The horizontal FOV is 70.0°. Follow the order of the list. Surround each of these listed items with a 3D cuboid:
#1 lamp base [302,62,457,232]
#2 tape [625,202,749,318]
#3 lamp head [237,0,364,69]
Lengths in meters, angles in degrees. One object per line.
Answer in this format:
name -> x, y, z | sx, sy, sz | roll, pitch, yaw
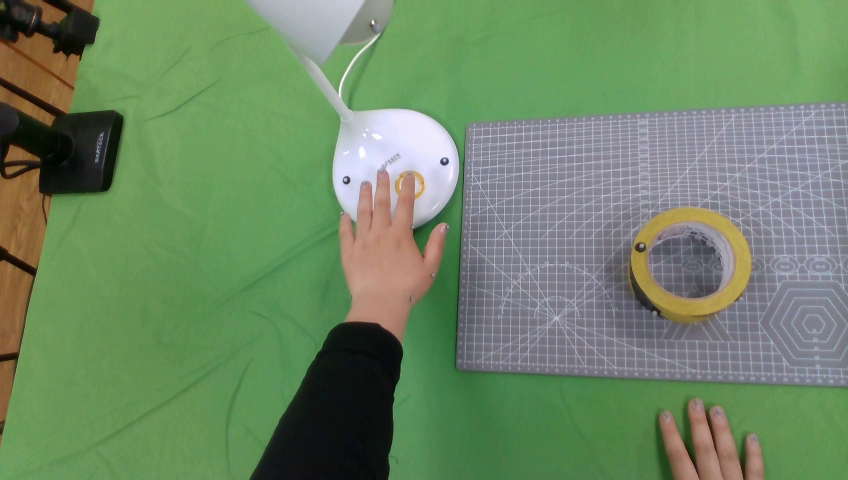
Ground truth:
lamp base -> -0.067, -0.114, 0.674 | 0.178, 0.182, 0.160 | 40, 87, 23
tape -> 0.266, 0.021, 0.620 | 0.116, 0.053, 0.116 | -3, 74, 12
lamp head -> -0.089, -0.188, 0.385 | 0.123, 0.112, 0.112 | 29, 83, -14
